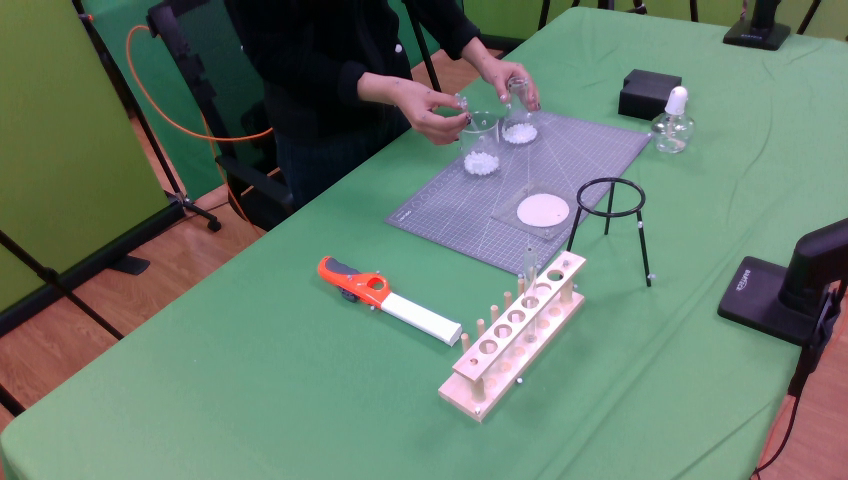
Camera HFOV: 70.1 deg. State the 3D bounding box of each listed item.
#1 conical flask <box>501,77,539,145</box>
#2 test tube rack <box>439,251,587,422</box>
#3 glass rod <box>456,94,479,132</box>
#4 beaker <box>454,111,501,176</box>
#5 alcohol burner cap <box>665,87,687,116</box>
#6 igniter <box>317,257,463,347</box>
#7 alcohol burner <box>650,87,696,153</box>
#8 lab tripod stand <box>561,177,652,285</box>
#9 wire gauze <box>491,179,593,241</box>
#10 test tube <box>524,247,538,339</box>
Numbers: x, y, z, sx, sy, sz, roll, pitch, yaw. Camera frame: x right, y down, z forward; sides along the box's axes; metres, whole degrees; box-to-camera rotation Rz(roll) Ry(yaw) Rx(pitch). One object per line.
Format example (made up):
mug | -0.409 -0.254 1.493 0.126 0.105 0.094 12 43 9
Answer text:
conical flask | 0.183 -0.250 1.162 0.075 0.122 0.075 -6 40 5
test tube rack | 0.118 0.111 0.780 0.066 0.085 0.243 26 51 34
glass rod | 0.076 -0.213 1.027 0.008 0.200 0.008 -1 84 14
beaker | 0.101 -0.174 1.106 0.084 0.101 0.073 -5 40 6
alcohol burner cap | 0.445 -0.244 1.060 0.034 0.048 0.033 -2 45 3
igniter | -0.061 0.086 0.891 0.274 0.025 0.057 23 59 33
alcohol burner | 0.448 -0.217 1.084 0.078 0.119 0.077 -6 38 5
lab tripod stand | 0.263 -0.014 0.864 0.148 0.132 0.147 -7 38 6
wire gauze | 0.198 -0.051 1.014 0.125 0.011 0.120 -38 48 -27
test tube | 0.133 0.070 0.749 0.017 0.151 0.017 -5 38 4
